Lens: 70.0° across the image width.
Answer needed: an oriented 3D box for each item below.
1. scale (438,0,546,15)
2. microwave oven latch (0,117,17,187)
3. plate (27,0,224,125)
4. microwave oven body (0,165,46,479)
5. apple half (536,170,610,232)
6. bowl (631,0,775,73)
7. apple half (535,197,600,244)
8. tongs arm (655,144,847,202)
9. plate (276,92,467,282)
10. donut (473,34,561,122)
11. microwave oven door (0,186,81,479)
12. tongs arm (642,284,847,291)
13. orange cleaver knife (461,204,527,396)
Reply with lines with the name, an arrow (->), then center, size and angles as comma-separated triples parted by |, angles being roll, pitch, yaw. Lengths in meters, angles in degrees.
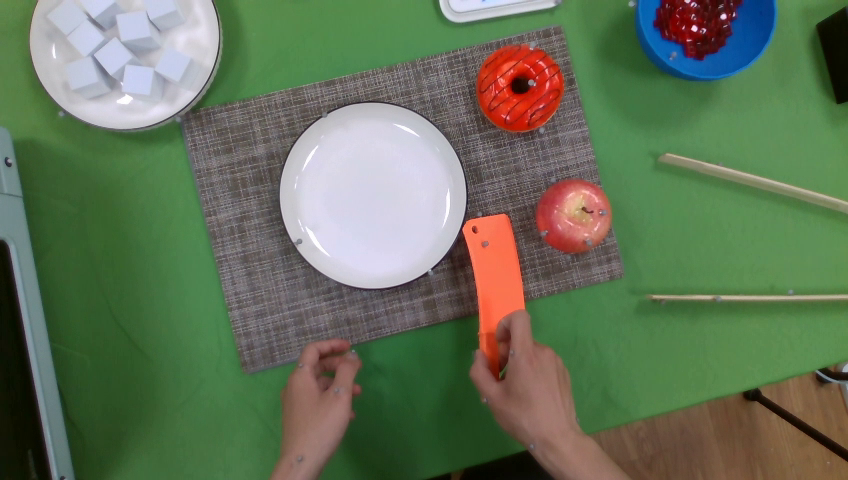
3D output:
scale -> 0.075, -0.368, 0.692 | 0.149, 0.031, 0.200 | -10, 90, -1
microwave oven latch -> -0.463, -0.095, 0.648 | 0.030, 0.029, 0.079 | -10, 90, -2
plate -> -0.325, -0.228, 0.674 | 0.208, 0.039, 0.207 | 0, 89, -2
microwave oven body -> -0.570, 0.104, 0.545 | 0.326, 0.260, 0.441 | -12, 90, -3
apple half -> 0.168, -0.048, 0.665 | 0.081, 0.075, 0.053 | 30, 84, 3
bowl -> 0.295, -0.252, 0.674 | 0.151, 0.077, 0.151 | 0, 89, -2
apple half -> 0.149, -0.014, 0.662 | 0.081, 0.081, 0.033 | 30, 84, 0
tongs arm -> 0.453, -0.051, 0.699 | 0.388, 0.028, 0.028 | 16, 81, -2
plate -> -0.057, -0.058, 0.675 | 0.209, 0.038, 0.209 | 0, 89, -2
donut -> 0.104, -0.181, 0.679 | 0.099, 0.048, 0.099 | 0, 90, 0
microwave oven door -> -0.418, 0.116, 0.544 | 0.039, 0.244, 0.355 | -12, 89, -2
tongs arm -> 0.443, 0.035, 0.694 | 0.385, 0.026, 0.050 | 1, 85, -2
orange cleaver knife -> 0.079, 0.060, 0.657 | 0.077, 0.012, 0.210 | 4, 75, -29
